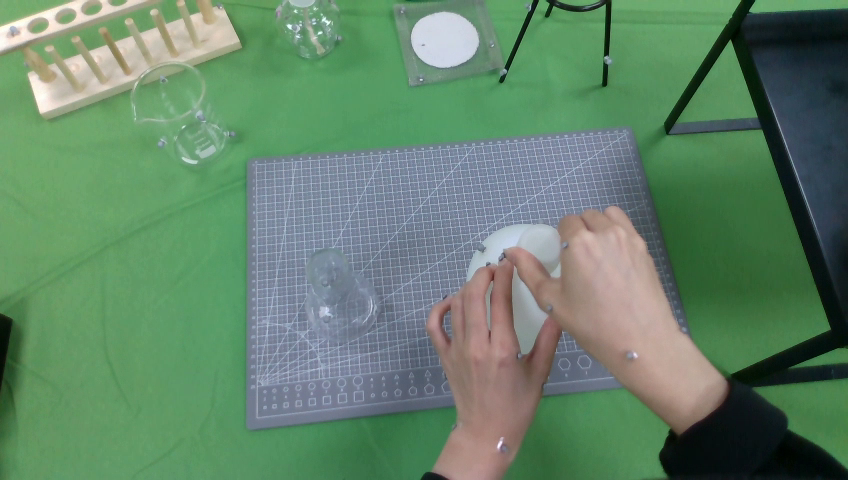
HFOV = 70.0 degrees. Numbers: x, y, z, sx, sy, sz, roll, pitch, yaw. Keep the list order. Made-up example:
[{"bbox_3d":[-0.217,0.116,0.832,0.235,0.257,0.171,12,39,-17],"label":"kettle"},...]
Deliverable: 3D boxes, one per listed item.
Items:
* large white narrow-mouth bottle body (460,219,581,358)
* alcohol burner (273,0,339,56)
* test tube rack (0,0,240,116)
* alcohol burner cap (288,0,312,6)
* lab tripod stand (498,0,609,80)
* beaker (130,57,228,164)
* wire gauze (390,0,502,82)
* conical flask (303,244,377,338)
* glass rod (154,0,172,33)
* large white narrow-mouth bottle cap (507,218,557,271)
[{"bbox_3d":[0.085,0.039,0.541,0.102,0.196,0.101,0,67,1],"label":"large white narrow-mouth bottle body"},{"bbox_3d":[-0.140,-0.275,0.709,0.078,0.120,0.077,1,65,-2],"label":"alcohol burner"},{"bbox_3d":[-0.350,-0.236,0.702,0.242,0.086,0.066,-24,70,-11],"label":"test tube rack"},{"bbox_3d":[-0.140,-0.291,0.676,0.034,0.048,0.033,4,66,-9],"label":"alcohol burner cap"},{"bbox_3d":[0.160,-0.256,0.697,0.148,0.132,0.147,1,67,-3],"label":"lab tripod stand"},{"bbox_3d":[-0.261,-0.133,0.655,0.073,0.101,0.084,39,72,14],"label":"beaker"},{"bbox_3d":[0.027,-0.259,0.763,0.121,0.011,0.124,-10,68,-6],"label":"wire gauze"},{"bbox_3d":[-0.085,0.043,0.572,0.075,0.122,0.075,0,67,-1],"label":"conical flask"},{"bbox_3d":[-0.304,-0.298,0.657,0.008,0.201,0.008,2,65,-5],"label":"glass rod"},{"bbox_3d":[0.082,0.004,0.460,0.038,0.024,0.037,0,68,1],"label":"large white narrow-mouth bottle cap"}]
